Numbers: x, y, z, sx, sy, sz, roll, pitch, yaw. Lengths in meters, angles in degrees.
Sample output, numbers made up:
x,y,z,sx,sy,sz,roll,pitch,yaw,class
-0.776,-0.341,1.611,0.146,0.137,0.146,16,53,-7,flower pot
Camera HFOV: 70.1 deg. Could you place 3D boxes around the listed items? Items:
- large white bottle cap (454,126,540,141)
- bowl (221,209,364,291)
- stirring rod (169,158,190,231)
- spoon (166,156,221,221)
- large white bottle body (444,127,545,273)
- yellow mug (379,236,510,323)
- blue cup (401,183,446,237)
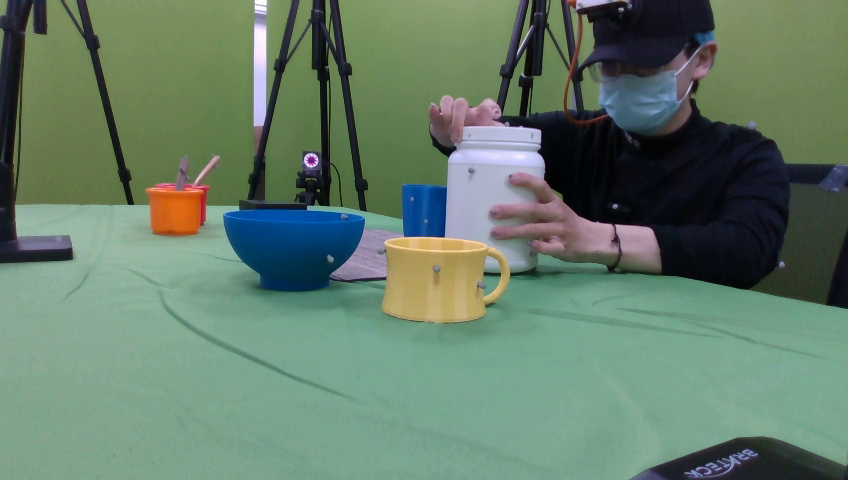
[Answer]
x,y,z,sx,sy,sz,roll,pitch,yaw,class
0.096,-0.140,0.803,0.115,0.018,0.115,2,7,0,large white bottle cap
-0.142,0.011,0.660,0.151,0.077,0.151,2,7,0,bowl
-0.427,-0.082,1.059,0.014,0.006,0.175,2,50,-13,stirring rod
-0.447,-0.104,1.191,0.041,0.022,0.193,7,52,14,spoon
0.094,-0.057,0.814,0.131,0.184,0.130,2,7,0,large white bottle body
0.024,0.034,0.575,0.131,0.064,0.099,1,7,-22,yellow mug
0.002,-0.038,0.966,0.093,0.100,0.092,4,8,0,blue cup
